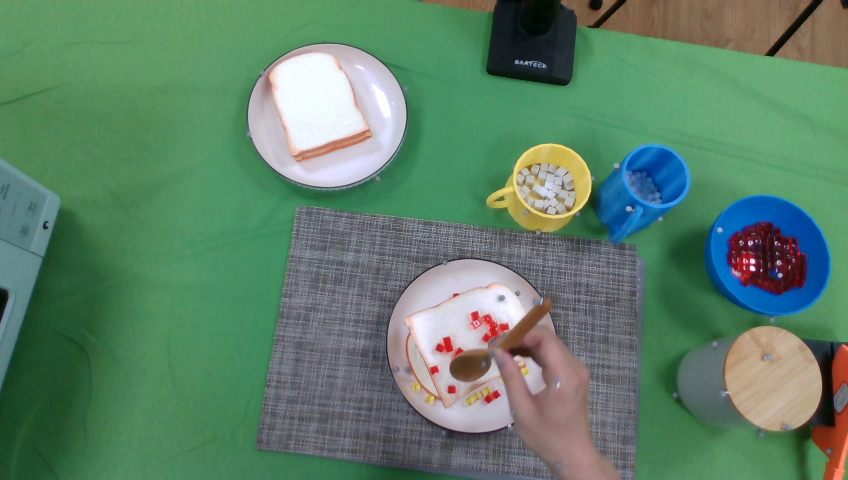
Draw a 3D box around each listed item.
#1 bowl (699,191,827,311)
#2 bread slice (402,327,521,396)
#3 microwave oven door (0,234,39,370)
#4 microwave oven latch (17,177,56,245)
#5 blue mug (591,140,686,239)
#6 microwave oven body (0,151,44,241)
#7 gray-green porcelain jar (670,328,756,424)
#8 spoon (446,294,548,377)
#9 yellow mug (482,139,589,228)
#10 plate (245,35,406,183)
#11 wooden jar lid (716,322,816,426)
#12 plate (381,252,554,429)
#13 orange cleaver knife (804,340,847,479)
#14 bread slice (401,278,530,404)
[{"bbox_3d":[0.410,0.021,0.765,0.151,0.077,0.150,1,76,-3],"label":"bowl"},{"bbox_3d":[0.041,0.128,0.736,0.131,0.019,0.104,-24,77,-12],"label":"bread slice"},{"bbox_3d":[-0.500,0.147,0.572,0.039,0.245,0.354,9,75,-1],"label":"microwave oven door"},{"bbox_3d":[-0.470,-0.036,0.725,0.030,0.029,0.079,13,76,0],"label":"microwave oven latch"},{"bbox_3d":[0.259,-0.053,0.762,0.082,0.106,0.116,28,76,4],"label":"blue mug"},{"bbox_3d":[-0.638,0.084,0.584,0.326,0.261,0.439,9,76,-1],"label":"microwave oven body"},{"bbox_3d":[0.356,0.158,0.703,0.106,0.127,0.105,1,75,-3],"label":"gray-green porcelain jar"},{"bbox_3d":[0.068,0.094,0.565,0.042,0.194,0.021,18,60,-11],"label":"spoon"},{"bbox_3d":[0.139,-0.067,0.778,0.131,0.064,0.099,-13,76,-5],"label":"yellow mug"},{"bbox_3d":[-0.128,-0.170,0.801,0.208,0.039,0.206,1,76,-3],"label":"plate"},{"bbox_3d":[0.359,0.141,0.642,0.108,0.021,0.108,1,78,-5],"label":"wooden jar lid"},{"bbox_3d":[0.052,0.120,0.735,0.209,0.038,0.208,1,76,-3],"label":"plate"},{"bbox_3d":[0.476,0.225,0.715,0.012,0.077,0.212,6,102,-1],"label":"orange cleaver knife"},{"bbox_3d":[0.052,0.103,0.679,0.134,0.018,0.106,-27,85,-16],"label":"bread slice"}]
